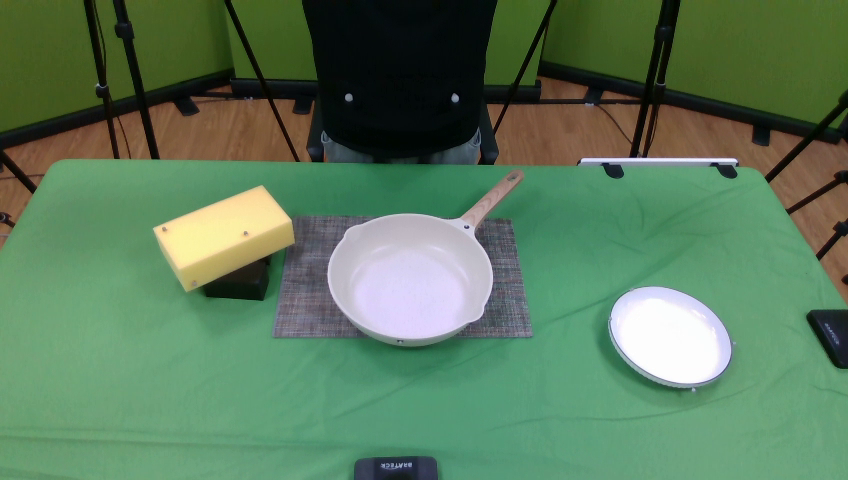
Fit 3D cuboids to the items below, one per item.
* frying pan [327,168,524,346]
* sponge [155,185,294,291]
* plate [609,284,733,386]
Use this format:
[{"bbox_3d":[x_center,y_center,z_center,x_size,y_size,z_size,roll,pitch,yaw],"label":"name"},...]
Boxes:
[{"bbox_3d":[0.042,0.009,1.131,0.305,0.103,0.487,34,61,24],"label":"frying pan"},{"bbox_3d":[-0.353,-0.008,1.085,0.207,0.061,0.117,-28,54,-26],"label":"sponge"},{"bbox_3d":[0.425,0.167,1.059,0.208,0.039,0.206,2,46,-2],"label":"plate"}]
